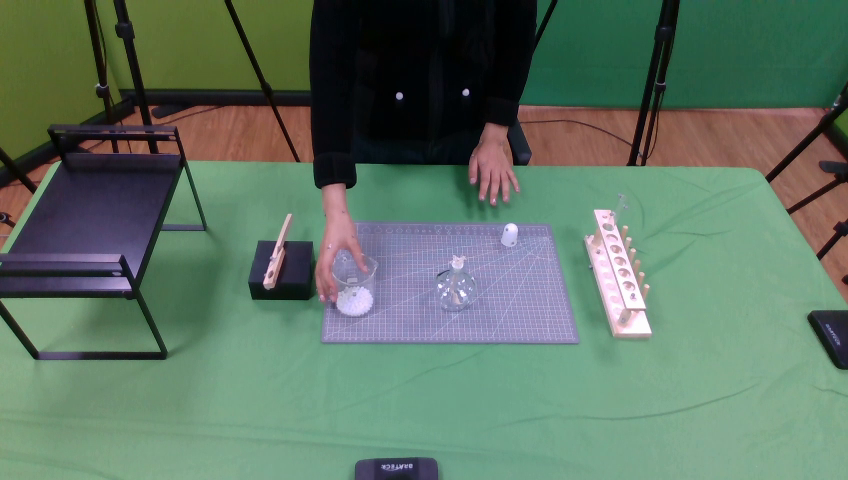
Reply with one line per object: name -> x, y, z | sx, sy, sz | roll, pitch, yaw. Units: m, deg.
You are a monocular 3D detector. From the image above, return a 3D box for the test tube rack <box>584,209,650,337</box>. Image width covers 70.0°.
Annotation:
test tube rack -> 0.365, 0.056, 1.129 | 0.067, 0.085, 0.240 | 1, 46, -3

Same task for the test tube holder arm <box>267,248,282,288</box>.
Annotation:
test tube holder arm -> -0.262, 0.048, 1.068 | 0.010, 0.015, 0.087 | 4, 45, -3

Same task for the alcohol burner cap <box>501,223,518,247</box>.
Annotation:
alcohol burner cap -> 0.172, -0.013, 1.207 | 0.034, 0.048, 0.033 | 1, 45, -1

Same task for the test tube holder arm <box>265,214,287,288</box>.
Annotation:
test tube holder arm -> -0.268, 0.016, 1.099 | 0.013, 0.015, 0.177 | 2, 45, -4

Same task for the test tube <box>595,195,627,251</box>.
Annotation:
test tube -> 0.350, -0.029, 1.140 | 0.017, 0.151, 0.017 | 3, 50, -3

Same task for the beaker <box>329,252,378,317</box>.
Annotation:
beaker -> -0.121, 0.080, 1.054 | 0.084, 0.101, 0.073 | -16, 50, -19

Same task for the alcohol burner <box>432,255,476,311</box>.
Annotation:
alcohol burner -> 0.055, 0.070, 1.068 | 0.078, 0.119, 0.077 | 3, 45, -3
